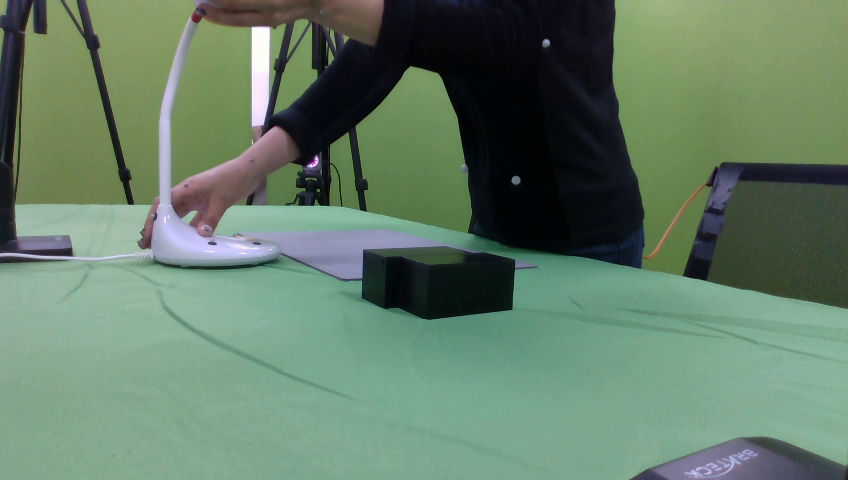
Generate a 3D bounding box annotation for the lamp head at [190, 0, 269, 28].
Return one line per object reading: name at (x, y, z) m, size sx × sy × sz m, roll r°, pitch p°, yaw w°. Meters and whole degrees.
lamp head at (-0.205, -0.283, 0.623) m, size 0.112 × 0.123 × 0.112 m, roll 3°, pitch 10°, yaw 0°

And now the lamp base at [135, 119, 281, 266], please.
lamp base at (-0.277, -0.062, 0.775) m, size 0.160 × 0.180 × 0.180 m, roll 7°, pitch 11°, yaw 44°
